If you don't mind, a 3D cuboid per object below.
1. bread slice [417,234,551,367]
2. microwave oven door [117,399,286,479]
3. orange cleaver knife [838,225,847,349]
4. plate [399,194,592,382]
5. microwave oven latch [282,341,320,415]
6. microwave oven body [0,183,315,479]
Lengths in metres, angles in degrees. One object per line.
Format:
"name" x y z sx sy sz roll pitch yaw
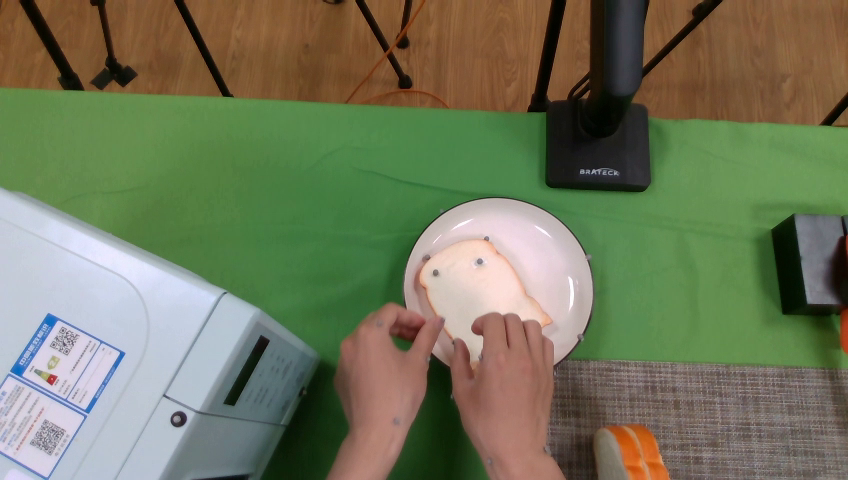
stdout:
"bread slice" 0.055 0.060 0.663 0.107 0.018 0.133 -32 73 -12
"microwave oven door" -0.234 0.296 0.471 0.039 0.245 0.354 23 74 9
"orange cleaver knife" 0.447 0.091 0.620 0.012 0.077 0.211 -2 93 4
"plate" 0.078 0.052 0.667 0.208 0.039 0.206 0 72 1
"microwave oven latch" -0.136 0.139 0.625 0.030 0.029 0.079 25 75 9
"microwave oven body" -0.348 0.205 0.508 0.325 0.261 0.440 23 75 8
